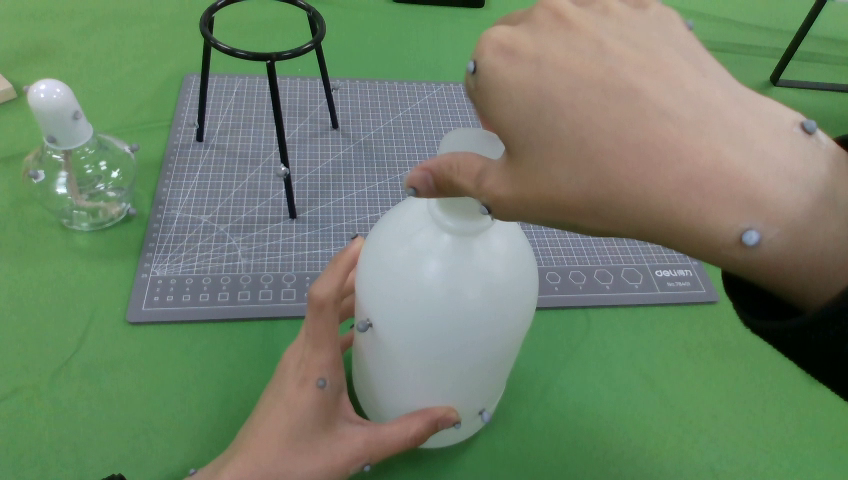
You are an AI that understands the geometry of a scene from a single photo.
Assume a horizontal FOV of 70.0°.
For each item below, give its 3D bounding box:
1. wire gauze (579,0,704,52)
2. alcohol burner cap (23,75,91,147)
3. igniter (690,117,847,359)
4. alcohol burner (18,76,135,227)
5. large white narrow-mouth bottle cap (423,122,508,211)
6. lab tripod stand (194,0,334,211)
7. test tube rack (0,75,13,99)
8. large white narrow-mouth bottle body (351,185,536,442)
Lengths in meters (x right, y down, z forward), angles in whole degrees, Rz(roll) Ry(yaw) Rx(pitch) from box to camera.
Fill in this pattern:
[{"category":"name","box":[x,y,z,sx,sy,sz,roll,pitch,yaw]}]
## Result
[{"category":"wire gauze","box":[0.235,-0.245,0.678,0.122,0.011,0.123,1,50,-10]},{"category":"alcohol burner cap","box":[-0.252,-0.089,0.412,0.034,0.048,0.033,4,55,-5]},{"category":"igniter","box":[0.302,-0.016,0.540,0.057,0.025,0.273,8,48,-16]},{"category":"alcohol burner","box":[-0.256,-0.067,0.440,0.078,0.120,0.077,6,47,-6]},{"category":"large white narrow-mouth bottle cap","box":[0.018,-0.033,0.272,0.038,0.024,0.037,4,49,-4]},{"category":"lab tripod stand","box":[-0.124,-0.118,0.488,0.149,0.132,0.147,6,49,-6]},{"category":"test tube rack","box":[-0.476,-0.119,0.469,0.066,0.086,0.242,38,54,22]},{"category":"large white narrow-mouth bottle body","box":[0.009,0.031,0.343,0.102,0.196,0.101,4,49,-4]}]
